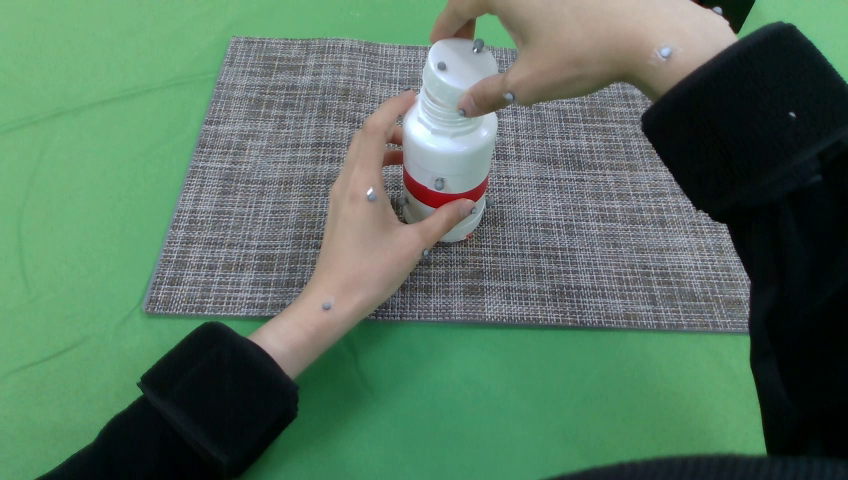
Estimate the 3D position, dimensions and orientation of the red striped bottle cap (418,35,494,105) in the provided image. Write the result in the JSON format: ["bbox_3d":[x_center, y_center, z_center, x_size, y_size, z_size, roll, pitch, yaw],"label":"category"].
[{"bbox_3d":[0.020,-0.103,0.363,0.045,0.018,0.044,6,56,-9],"label":"red striped bottle cap"}]

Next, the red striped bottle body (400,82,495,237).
[{"bbox_3d":[0.015,-0.060,0.420,0.063,0.120,0.062,1,55,-1],"label":"red striped bottle body"}]
